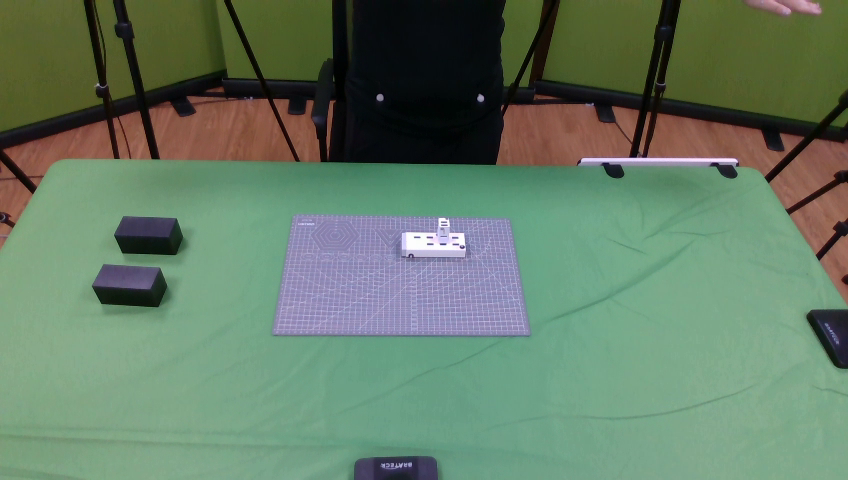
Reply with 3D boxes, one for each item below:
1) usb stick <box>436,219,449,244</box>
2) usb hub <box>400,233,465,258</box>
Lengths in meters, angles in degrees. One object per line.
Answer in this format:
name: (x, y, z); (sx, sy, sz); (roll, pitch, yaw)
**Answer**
usb stick: (0.035, -0.012, 1.166); (0.021, 0.059, 0.027); (-2, 48, -6)
usb hub: (0.017, 0.011, 1.182); (0.125, 0.025, 0.049); (1, 46, -3)
